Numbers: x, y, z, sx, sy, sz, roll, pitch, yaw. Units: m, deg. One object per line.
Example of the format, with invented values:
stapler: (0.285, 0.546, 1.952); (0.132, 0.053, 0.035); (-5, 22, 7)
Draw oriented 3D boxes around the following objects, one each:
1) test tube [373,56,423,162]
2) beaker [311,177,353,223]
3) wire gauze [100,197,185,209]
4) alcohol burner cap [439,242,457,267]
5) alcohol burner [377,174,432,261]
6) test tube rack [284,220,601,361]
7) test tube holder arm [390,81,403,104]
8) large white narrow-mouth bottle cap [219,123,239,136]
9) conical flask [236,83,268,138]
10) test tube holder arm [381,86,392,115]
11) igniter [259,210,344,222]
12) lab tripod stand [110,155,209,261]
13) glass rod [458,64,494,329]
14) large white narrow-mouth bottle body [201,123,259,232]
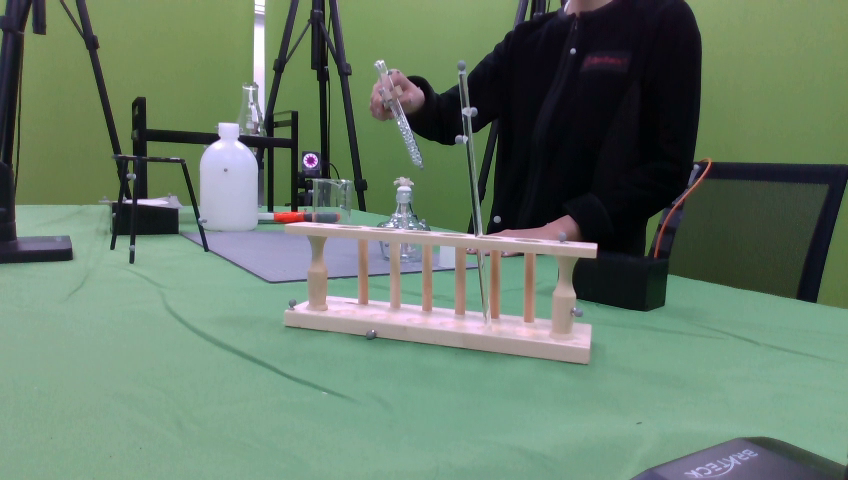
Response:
test tube: (-0.034, -0.177, 0.821); (0.017, 0.150, 0.017); (-22, 4, 2)
beaker: (-0.167, -0.064, 1.106); (0.074, 0.100, 0.083); (-2, 9, -27)
wire gauze: (-0.469, -0.062, 1.008); (0.126, 0.011, 0.121); (-2, 8, -25)
alcohol burner cap: (0.037, 0.011, 0.807); (0.034, 0.048, 0.034); (4, 8, 0)
alcohol burner: (-0.027, -0.031, 0.838); (0.078, 0.119, 0.078); (0, 6, 0)
test tube rack: (0.013, 0.032, 0.482); (0.242, 0.085, 0.067); (4, 7, 16)
test tube holder arm: (-0.044, -0.203, 0.841); (0.010, 0.015, 0.087); (-24, 5, -12)
large white narrow-mouth bottle cap: (-0.356, -0.201, 1.104); (0.038, 0.024, 0.037); (2, 8, 0)
conical flask: (-0.400, -0.298, 1.396); (0.075, 0.122, 0.075); (2, 8, 0)
test tube holder arm: (-0.055, -0.202, 0.885); (0.013, 0.015, 0.178); (-22, 5, -4)
igniter: (-0.303, -0.049, 1.258); (0.278, 0.025, 0.057); (-2, -2, -28)
lab tripod stand: (-0.361, -0.046, 0.806); (0.148, 0.131, 0.148); (2, 5, 0)
glass rod: (0.040, -0.029, 0.450); (0.008, 0.199, 0.008); (-7, 9, 1)
large white narrow-mouth bottle body: (-0.358, -0.116, 1.116); (0.102, 0.194, 0.102); (2, 8, 0)
